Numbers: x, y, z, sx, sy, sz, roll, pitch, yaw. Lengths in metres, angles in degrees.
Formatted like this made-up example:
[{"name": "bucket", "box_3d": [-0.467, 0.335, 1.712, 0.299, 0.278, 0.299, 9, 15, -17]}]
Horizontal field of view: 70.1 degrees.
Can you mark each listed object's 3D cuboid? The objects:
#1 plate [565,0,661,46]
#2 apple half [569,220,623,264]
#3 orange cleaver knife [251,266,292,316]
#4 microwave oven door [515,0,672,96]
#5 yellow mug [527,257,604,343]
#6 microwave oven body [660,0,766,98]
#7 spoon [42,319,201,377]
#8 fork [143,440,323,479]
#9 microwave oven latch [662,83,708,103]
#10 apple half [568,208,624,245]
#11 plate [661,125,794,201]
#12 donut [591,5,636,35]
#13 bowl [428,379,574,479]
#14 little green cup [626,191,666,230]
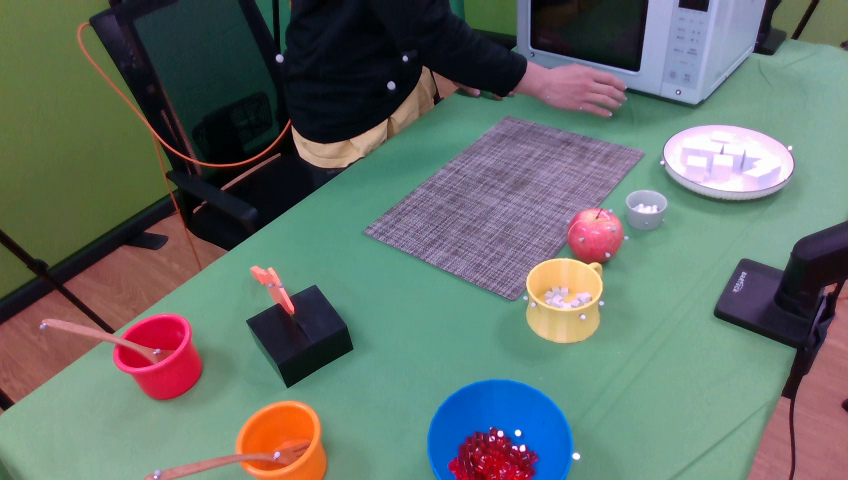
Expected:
[{"name": "plate", "box_3d": [0.427, -0.490, 1.376, 0.209, 0.038, 0.208, -5, 41, 5]}, {"name": "apple half", "box_3d": [0.251, 0.010, 0.884, 0.081, 0.081, 0.032, 3, 37, 12]}, {"name": "orange cleaver knife", "box_3d": [-0.221, 0.071, 0.873, 0.012, 0.077, 0.210, -25, 11, -21]}, {"name": "microwave oven door", "box_3d": [0.344, -0.455, 1.259, 0.353, 0.245, 0.039, 26, 51, 33]}, {"name": "yellow mug", "box_3d": [0.201, 0.072, 0.825, 0.131, 0.064, 0.099, -32, 46, -27]}, {"name": "microwave oven body", "box_3d": [0.472, -0.513, 1.317, 0.438, 0.261, 0.327, 26, 51, 34]}, {"name": "spoon", "box_3d": [-0.385, 0.135, 0.779, 0.195, 0.021, 0.041, 29, 37, -26]}, {"name": "fork", "box_3d": [-0.190, 0.231, 0.631, 0.028, 0.018, 0.209, 38, 14, 37]}, {"name": "microwave oven latch", "box_3d": [0.518, -0.297, 1.204, 0.078, 0.029, 0.030, 28, 52, 36]}, {"name": "apple half", "box_3d": [0.259, -0.014, 0.914, 0.080, 0.075, 0.053, 0, 36, 15]}, {"name": "plate", "box_3d": [0.513, -0.128, 1.035, 0.207, 0.039, 0.206, -4, 40, 4]}, {"name": "donut", "box_3d": [0.427, -0.498, 1.365, 0.099, 0.048, 0.098, -4, 39, 4]}, {"name": "bowl", "box_3d": [0.082, 0.233, 0.644, 0.151, 0.077, 0.150, -4, 40, 4]}, {"name": "little green cup", "box_3d": [0.352, -0.046, 0.963, 0.061, 0.039, 0.061, -4, 40, 4]}]
